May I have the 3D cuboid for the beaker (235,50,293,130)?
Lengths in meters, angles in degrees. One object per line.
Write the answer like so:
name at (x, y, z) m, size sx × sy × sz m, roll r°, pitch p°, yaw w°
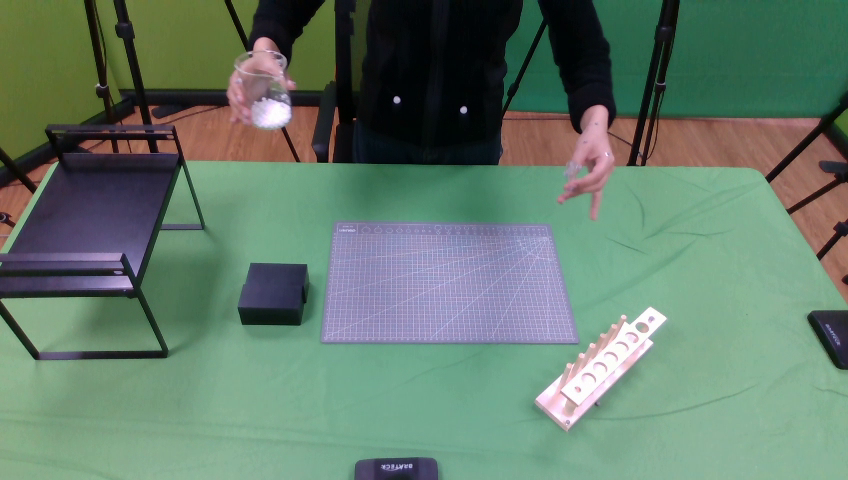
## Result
beaker at (-0.239, -0.226, 0.929) m, size 0.083 × 0.101 × 0.074 m, roll 35°, pitch 54°, yaw 27°

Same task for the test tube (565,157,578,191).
test tube at (0.226, -0.099, 0.929) m, size 0.017 × 0.150 × 0.017 m, roll -2°, pitch 81°, yaw 12°

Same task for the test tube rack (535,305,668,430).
test tube rack at (0.290, 0.193, 0.984) m, size 0.242 × 0.085 × 0.066 m, roll -32°, pitch 57°, yaw -30°
